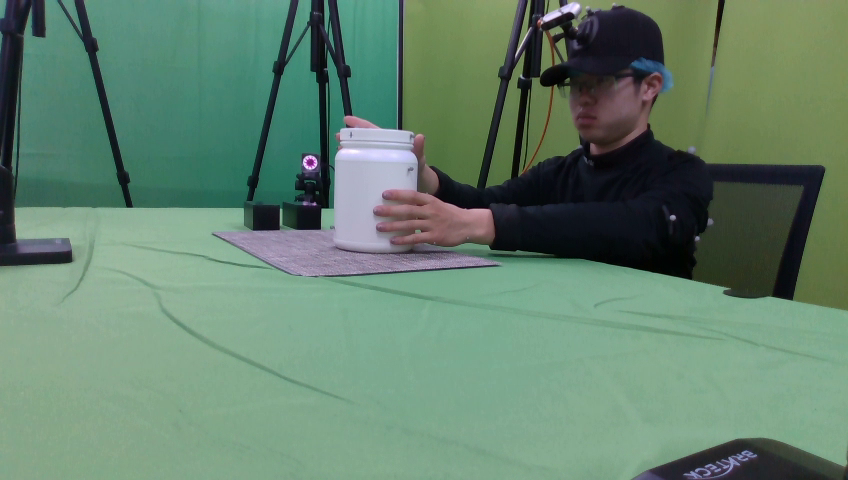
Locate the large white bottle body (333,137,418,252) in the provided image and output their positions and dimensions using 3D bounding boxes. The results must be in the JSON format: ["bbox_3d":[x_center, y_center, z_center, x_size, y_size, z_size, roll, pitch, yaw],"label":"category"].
[{"bbox_3d":[-0.076,-0.080,0.950,0.131,0.184,0.130,2,8,0],"label":"large white bottle body"}]

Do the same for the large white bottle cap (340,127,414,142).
[{"bbox_3d":[-0.073,-0.163,0.939,0.115,0.018,0.115,2,8,0],"label":"large white bottle cap"}]
